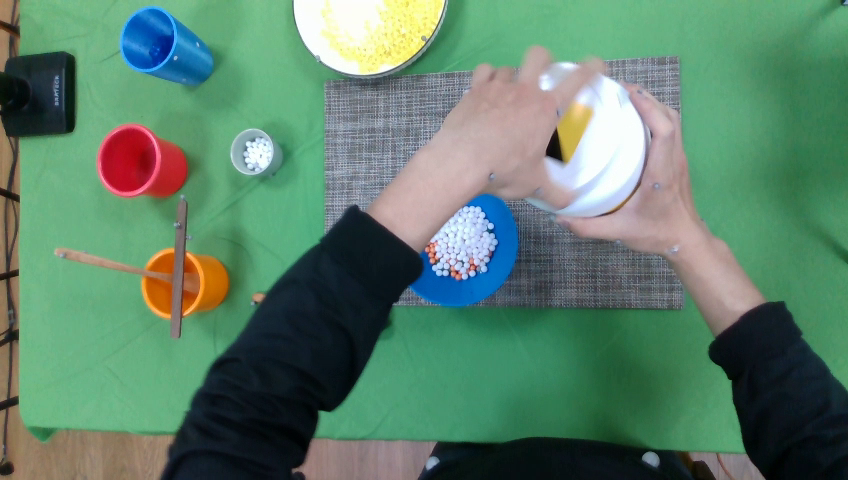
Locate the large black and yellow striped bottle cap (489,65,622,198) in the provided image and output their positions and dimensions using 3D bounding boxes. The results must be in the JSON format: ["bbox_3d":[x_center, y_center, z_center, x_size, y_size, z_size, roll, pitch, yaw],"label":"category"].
[{"bbox_3d":[0.111,-0.094,0.523,0.114,0.019,0.114,-3,84,30],"label":"large black and yellow striped bottle cap"}]

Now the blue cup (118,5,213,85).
[{"bbox_3d":[-0.338,-0.252,0.813,0.092,0.100,0.092,0,88,14],"label":"blue cup"}]

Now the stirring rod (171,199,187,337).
[{"bbox_3d":[-0.312,0.035,0.771,0.014,0.006,0.176,2,89,10],"label":"stirring rod"}]

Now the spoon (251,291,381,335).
[{"bbox_3d":[-0.145,0.090,0.802,0.193,0.021,0.042,10,104,12],"label":"spoon"}]

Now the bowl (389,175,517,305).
[{"bbox_3d":[0.040,0.002,0.733,0.151,0.077,0.151,0,88,12],"label":"bowl"}]

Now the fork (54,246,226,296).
[{"bbox_3d":[-0.362,0.040,0.785,0.209,0.018,0.028,18,95,-31],"label":"fork"}]

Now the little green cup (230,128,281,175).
[{"bbox_3d":[-0.225,-0.116,0.817,0.061,0.039,0.061,0,88,13],"label":"little green cup"}]

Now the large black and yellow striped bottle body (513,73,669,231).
[{"bbox_3d":[0.157,-0.084,0.594,0.130,0.185,0.130,-5,81,31],"label":"large black and yellow striped bottle body"}]

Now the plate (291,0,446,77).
[{"bbox_3d":[-0.071,-0.312,0.792,0.208,0.038,0.209,0,88,12],"label":"plate"}]
